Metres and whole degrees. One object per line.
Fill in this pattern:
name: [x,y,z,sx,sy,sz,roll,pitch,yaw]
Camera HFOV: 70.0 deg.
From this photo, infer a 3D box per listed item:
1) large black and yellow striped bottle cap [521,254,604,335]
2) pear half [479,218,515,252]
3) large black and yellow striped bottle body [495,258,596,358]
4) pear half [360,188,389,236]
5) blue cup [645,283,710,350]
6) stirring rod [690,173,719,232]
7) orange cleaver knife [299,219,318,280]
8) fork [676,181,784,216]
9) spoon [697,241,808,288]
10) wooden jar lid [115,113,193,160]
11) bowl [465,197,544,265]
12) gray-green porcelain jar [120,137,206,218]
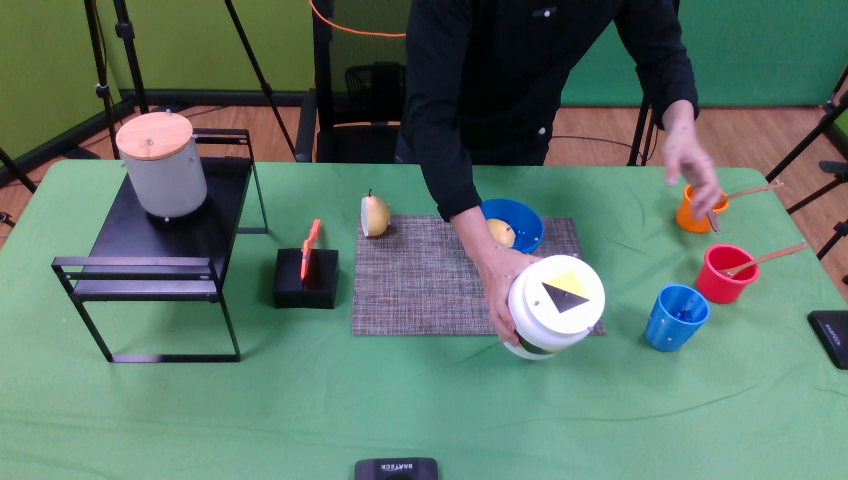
large black and yellow striped bottle cap: [0.194,0.075,0.849,0.115,0.019,0.114,2,70,-6]
pear half: [0.145,-0.013,1.167,0.070,0.031,0.087,-22,56,-18]
large black and yellow striped bottle body: [0.188,0.104,0.928,0.131,0.184,0.130,2,71,-5]
pear half: [-0.096,-0.060,1.181,0.056,0.110,0.076,-13,52,-17]
blue cup: [0.426,0.138,1.041,0.093,0.101,0.092,3,48,-3]
stirring rod: [0.566,-0.080,1.225,0.014,0.006,0.175,2,46,2]
orange cleaver knife: [-0.214,0.013,1.126,0.012,0.077,0.210,5,17,-5]
fork: [0.618,-0.084,1.234,0.207,0.019,0.028,-23,20,38]
spoon: [0.601,0.044,1.116,0.194,0.022,0.041,-29,34,30]
wooden jar lid: [-0.399,-0.151,0.900,0.108,0.021,0.107,3,46,-3]
bowl: [0.149,-0.004,1.167,0.151,0.077,0.150,3,46,-2]
gray-green porcelain jar: [-0.403,-0.106,0.946,0.106,0.127,0.105,3,46,-2]
